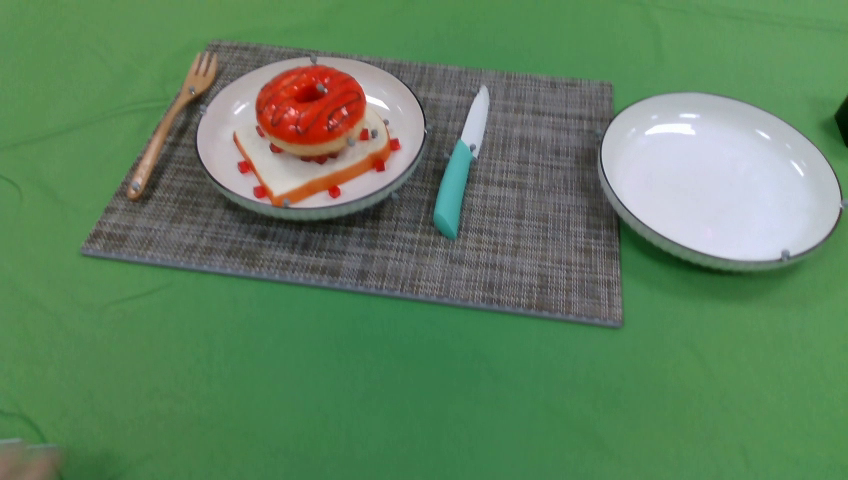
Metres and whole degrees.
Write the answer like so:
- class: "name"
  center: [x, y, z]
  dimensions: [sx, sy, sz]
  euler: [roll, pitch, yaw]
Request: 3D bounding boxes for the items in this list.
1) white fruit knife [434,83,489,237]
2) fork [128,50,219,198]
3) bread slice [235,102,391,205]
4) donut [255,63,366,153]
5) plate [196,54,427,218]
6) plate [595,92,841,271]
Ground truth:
- class: "white fruit knife"
  center: [0.040, -0.087, 0.579]
  dimensions: [0.027, 0.016, 0.206]
  euler: [30, 50, -15]
- class: "fork"
  center: [-0.243, -0.120, 0.593]
  dimensions: [0.028, 0.019, 0.205]
  euler: [11, 51, -2]
- class: "bread slice"
  center: [-0.100, -0.093, 0.567]
  dimensions: [0.131, 0.019, 0.104]
  euler: [-27, 58, -19]
- class: "donut"
  center: [-0.101, -0.119, 0.539]
  dimensions: [0.099, 0.048, 0.098]
  euler: [1, 52, -1]
- class: "plate"
  center: [-0.102, -0.097, 0.568]
  dimensions: [0.209, 0.038, 0.207]
  euler: [1, 53, 0]
- class: "plate"
  center: [0.257, -0.053, 0.548]
  dimensions: [0.208, 0.039, 0.205]
  euler: [1, 53, -1]
